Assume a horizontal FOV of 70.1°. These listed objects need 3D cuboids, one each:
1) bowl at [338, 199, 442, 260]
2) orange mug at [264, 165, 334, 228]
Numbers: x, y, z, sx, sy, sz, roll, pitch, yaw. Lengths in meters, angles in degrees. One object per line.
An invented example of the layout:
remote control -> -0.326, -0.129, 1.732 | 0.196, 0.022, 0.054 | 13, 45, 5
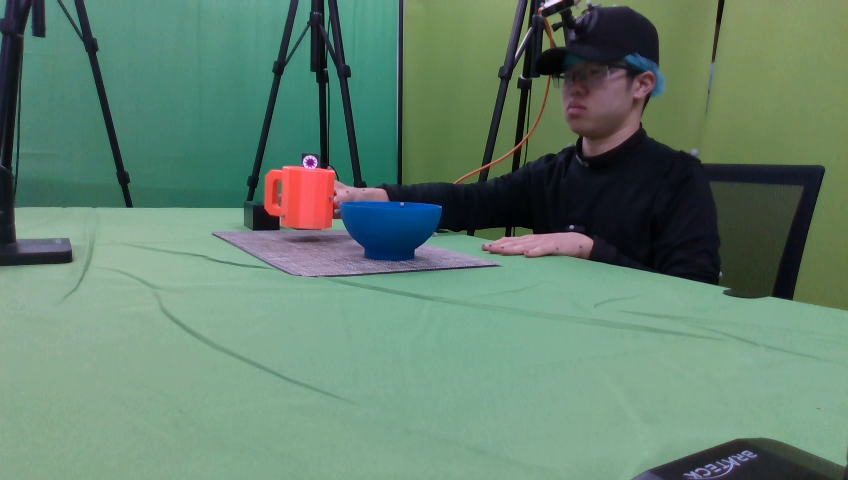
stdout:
bowl -> -0.050, -0.015, 0.878 | 0.151, 0.077, 0.151 | 2, 8, 0
orange mug -> -0.211, -0.077, 1.013 | 0.126, 0.100, 0.084 | 13, 12, 18
